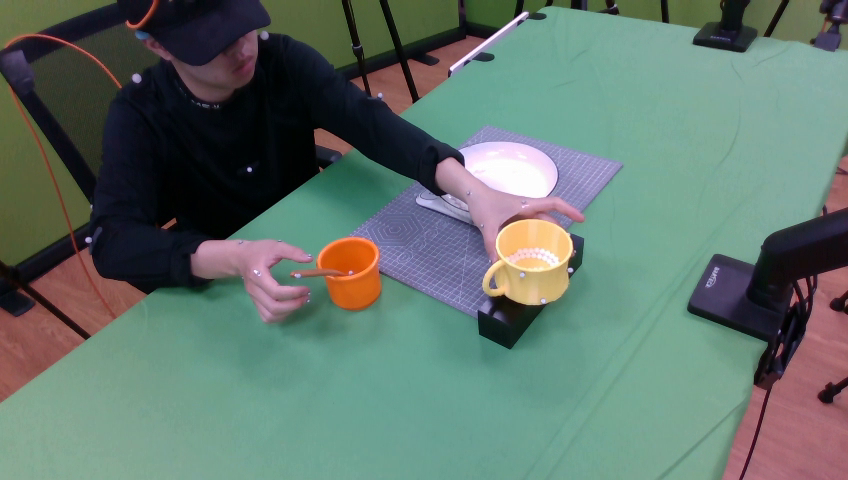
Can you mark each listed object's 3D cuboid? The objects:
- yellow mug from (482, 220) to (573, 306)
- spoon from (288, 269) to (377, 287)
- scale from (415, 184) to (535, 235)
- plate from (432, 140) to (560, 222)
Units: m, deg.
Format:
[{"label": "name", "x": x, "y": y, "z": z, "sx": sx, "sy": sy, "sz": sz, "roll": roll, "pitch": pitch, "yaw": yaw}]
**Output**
[{"label": "yellow mug", "x": 0.131, "y": 0.035, "z": 0.792, "sx": 0.131, "sy": 0.064, "sz": 0.099, "roll": -26, "pitch": 45, "yaw": -20}, {"label": "spoon", "x": -0.124, "y": 0.050, "z": 0.831, "sx": 0.041, "sy": 0.195, "sz": 0.021, "roll": 21, "pitch": 92, "yaw": 27}, {"label": "scale", "x": 0.099, "y": -0.080, "z": 1.035, "sx": 0.199, "sy": 0.032, "sz": 0.149, "roll": 23, "pitch": 48, "yaw": 31}, {"label": "plate", "x": 0.118, "y": -0.094, "z": 0.999, "sx": 0.209, "sy": 0.038, "sz": 0.208, "roll": -5, "pitch": 41, "yaw": 5}]
